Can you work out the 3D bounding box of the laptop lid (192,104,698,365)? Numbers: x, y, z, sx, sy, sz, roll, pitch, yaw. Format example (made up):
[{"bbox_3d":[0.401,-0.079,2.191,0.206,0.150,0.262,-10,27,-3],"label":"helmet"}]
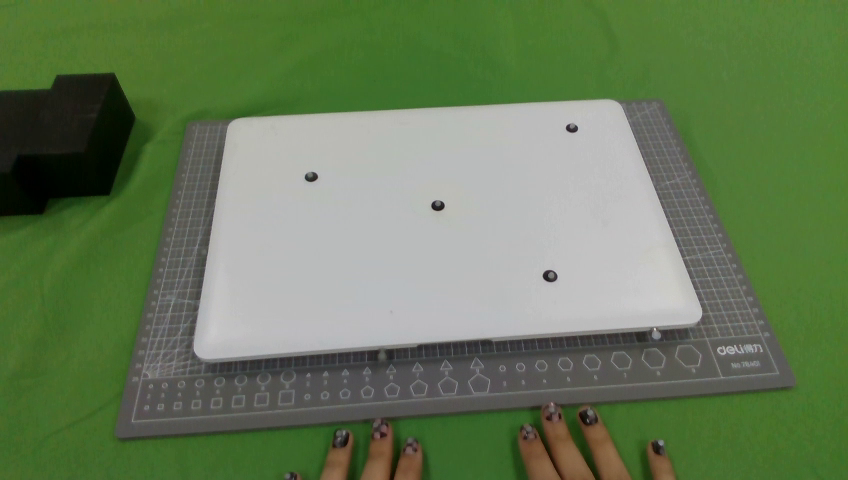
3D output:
[{"bbox_3d":[0.010,-0.021,0.478,0.357,0.013,0.239,-2,54,-2],"label":"laptop lid"}]

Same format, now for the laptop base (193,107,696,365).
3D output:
[{"bbox_3d":[0.010,-0.016,0.489,0.355,0.023,0.233,-4,55,-3],"label":"laptop base"}]
